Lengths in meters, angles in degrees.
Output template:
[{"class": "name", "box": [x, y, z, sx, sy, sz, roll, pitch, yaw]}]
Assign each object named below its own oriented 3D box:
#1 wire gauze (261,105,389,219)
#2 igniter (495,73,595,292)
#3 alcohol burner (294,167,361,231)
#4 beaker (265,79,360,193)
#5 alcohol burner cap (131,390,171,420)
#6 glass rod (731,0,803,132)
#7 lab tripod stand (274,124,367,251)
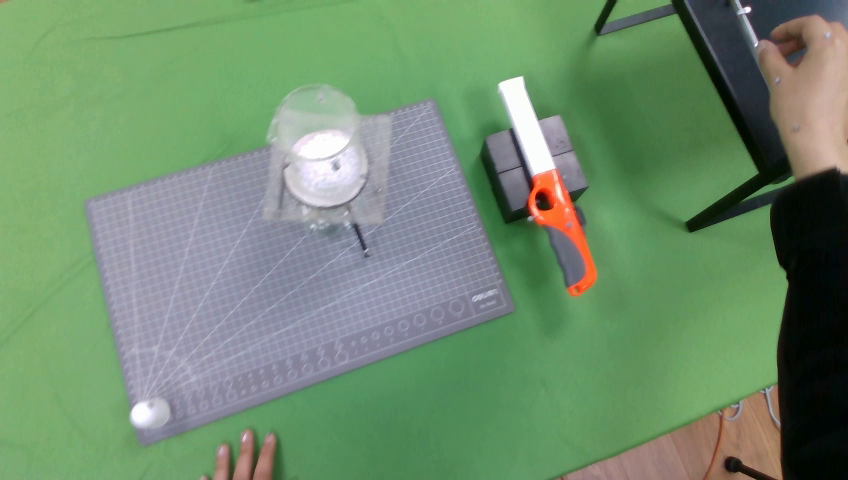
[{"class": "wire gauze", "box": [-0.100, -0.081, 0.623, 0.121, 0.011, 0.124, 4, 72, -5]}, {"class": "igniter", "box": [0.141, -0.072, 0.714, 0.057, 0.025, 0.275, -16, 76, -5]}, {"class": "alcohol burner", "box": [-0.112, -0.052, 0.692, 0.078, 0.119, 0.077, 1, 77, -3]}, {"class": "beaker", "box": [-0.101, -0.092, 0.575, 0.084, 0.101, 0.073, -19, 75, -7]}, {"class": "alcohol burner cap", "box": [-0.300, 0.180, 0.658, 0.034, 0.048, 0.033, 1, 75, -4]}, {"class": "glass rod", "box": [0.350, -0.202, 0.633, 0.008, 0.008, 0.198, -17, 78, -8]}, {"class": "lab tripod stand", "box": [-0.107, -0.066, 0.686, 0.148, 0.132, 0.147, 1, 73, -2]}]
